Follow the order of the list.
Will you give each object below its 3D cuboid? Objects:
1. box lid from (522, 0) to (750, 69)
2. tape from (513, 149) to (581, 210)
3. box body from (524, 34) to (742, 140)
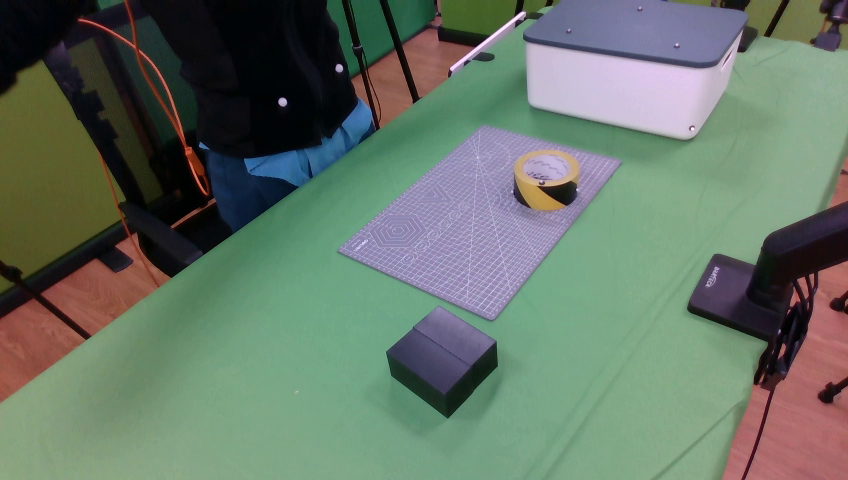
[{"bbox_3d":[0.405,-0.409,1.162,0.369,0.015,0.264,20,47,29],"label":"box lid"},{"bbox_3d":[0.208,-0.104,1.032,0.117,0.053,0.116,-4,40,4],"label":"tape"},{"bbox_3d":[0.412,-0.354,1.212,0.361,0.161,0.254,20,48,29],"label":"box body"}]
